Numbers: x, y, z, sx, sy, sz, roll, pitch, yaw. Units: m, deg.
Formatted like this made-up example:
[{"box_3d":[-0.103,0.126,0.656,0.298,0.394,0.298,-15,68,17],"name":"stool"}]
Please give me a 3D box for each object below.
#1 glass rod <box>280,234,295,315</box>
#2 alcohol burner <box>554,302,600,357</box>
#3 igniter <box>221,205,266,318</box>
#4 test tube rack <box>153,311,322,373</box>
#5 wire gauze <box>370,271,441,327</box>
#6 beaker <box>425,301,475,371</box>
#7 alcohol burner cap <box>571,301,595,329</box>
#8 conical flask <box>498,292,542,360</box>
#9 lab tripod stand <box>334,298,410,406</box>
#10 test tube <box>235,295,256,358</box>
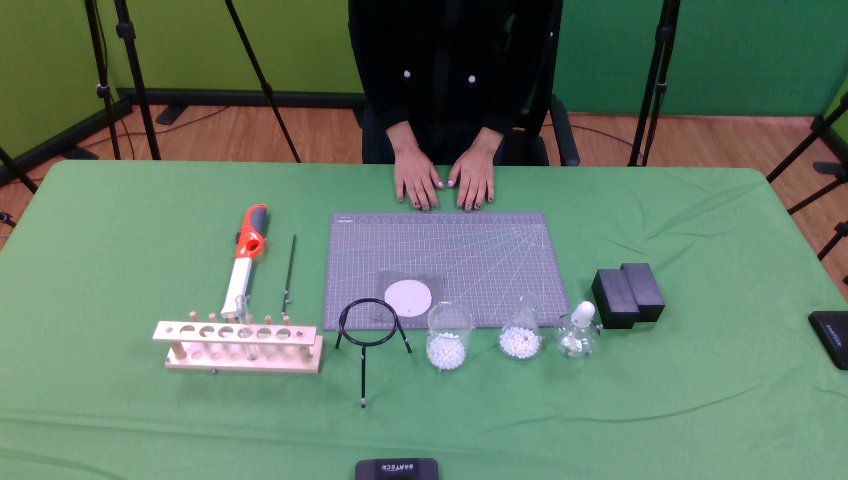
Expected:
[{"box_3d":[-0.253,0.060,1.132,0.008,0.008,0.198,0,46,-4],"name":"glass rod"},{"box_3d":[0.260,0.143,1.018,0.078,0.119,0.077,3,45,-3],"name":"alcohol burner"},{"box_3d":[-0.337,0.030,1.140,0.057,0.025,0.274,-6,46,3],"name":"igniter"},{"box_3d":[-0.293,0.160,0.978,0.242,0.085,0.066,3,46,-2],"name":"test tube rack"},{"box_3d":[-0.032,0.103,1.105,0.125,0.011,0.121,4,46,3],"name":"wire gauze"},{"box_3d":[0.038,0.159,0.996,0.074,0.101,0.083,-13,48,-17],"name":"beaker"},{"box_3d":[0.262,0.120,0.991,0.034,0.048,0.033,2,52,-2],"name":"alcohol burner cap"},{"box_3d":[0.167,0.139,1.010,0.075,0.122,0.075,2,46,-2],"name":"conical flask"},{"box_3d":[-0.086,0.164,0.957,0.148,0.132,0.147,3,44,-2],"name":"lab tripod stand"},{"box_3d":[-0.274,0.136,0.933,0.017,0.151,0.017,4,46,-4],"name":"test tube"}]
